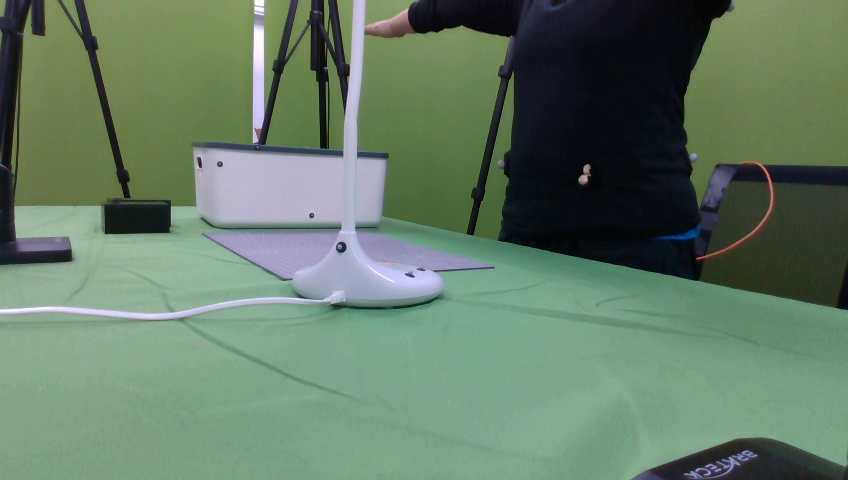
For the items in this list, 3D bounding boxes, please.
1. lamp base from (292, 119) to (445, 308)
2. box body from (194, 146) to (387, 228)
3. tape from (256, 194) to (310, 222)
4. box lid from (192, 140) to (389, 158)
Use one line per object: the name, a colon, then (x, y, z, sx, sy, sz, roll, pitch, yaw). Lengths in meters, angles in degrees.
lamp base: (-0.056, -0.030, 0.616, 0.160, 0.180, 0.179, 4, 10, 8)
box body: (-0.288, -0.118, 1.291, 0.366, 0.160, 0.253, -1, 8, -28)
tape: (-0.301, -0.069, 1.294, 0.117, 0.052, 0.117, 3, 7, 0)
box lid: (-0.287, -0.191, 1.281, 0.373, 0.015, 0.262, 0, 8, -28)
